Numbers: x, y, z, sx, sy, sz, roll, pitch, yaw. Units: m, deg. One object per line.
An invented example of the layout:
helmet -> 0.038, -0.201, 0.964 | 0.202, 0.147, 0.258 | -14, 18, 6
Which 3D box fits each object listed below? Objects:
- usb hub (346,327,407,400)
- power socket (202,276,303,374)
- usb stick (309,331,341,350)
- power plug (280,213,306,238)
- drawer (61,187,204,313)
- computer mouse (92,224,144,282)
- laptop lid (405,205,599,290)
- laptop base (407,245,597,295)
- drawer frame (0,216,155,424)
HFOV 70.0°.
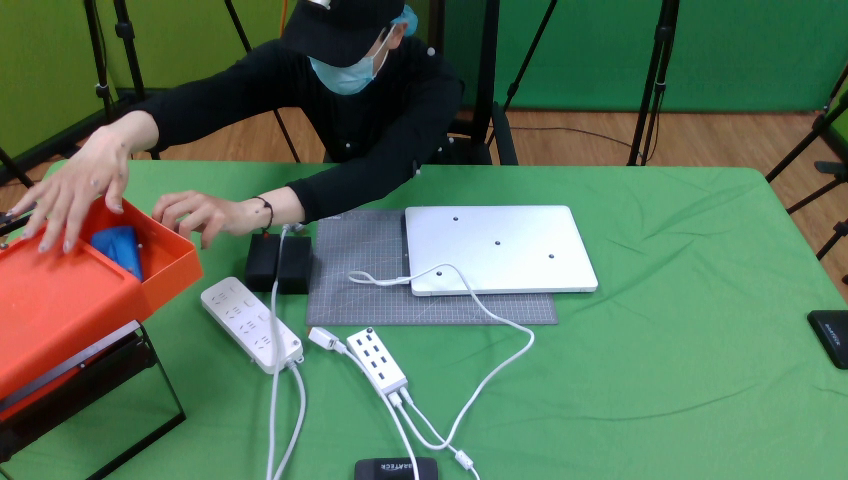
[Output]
usb hub -> -0.078, 0.202, 0.998 | 0.049, 0.025, 0.124 | -23, 53, -24
power socket -> -0.296, 0.141, 1.034 | 0.072, 0.033, 0.225 | -35, 58, -31
usb stick -> -0.172, 0.167, 1.020 | 0.059, 0.021, 0.027 | 11, 3, 25
power plug -> -0.260, -0.021, 1.184 | 0.035, 0.053, 0.072 | 11, 56, 33
drawer -> -0.453, 0.043, 0.836 | 0.194, 0.073, 0.211 | 30, 52, 22
computer mouse -> -0.443, 0.021, 0.875 | 0.063, 0.041, 0.116 | -11, 53, -18
laptop lid -> 0.143, 0.008, 1.189 | 0.357, 0.013, 0.240 | 0, 44, -5
laptop base -> 0.143, 0.018, 1.196 | 0.355, 0.023, 0.234 | -1, 43, -6
drawer frame -> -0.504, 0.092, 0.782 | 0.201, 0.083, 0.213 | 28, 51, 20
